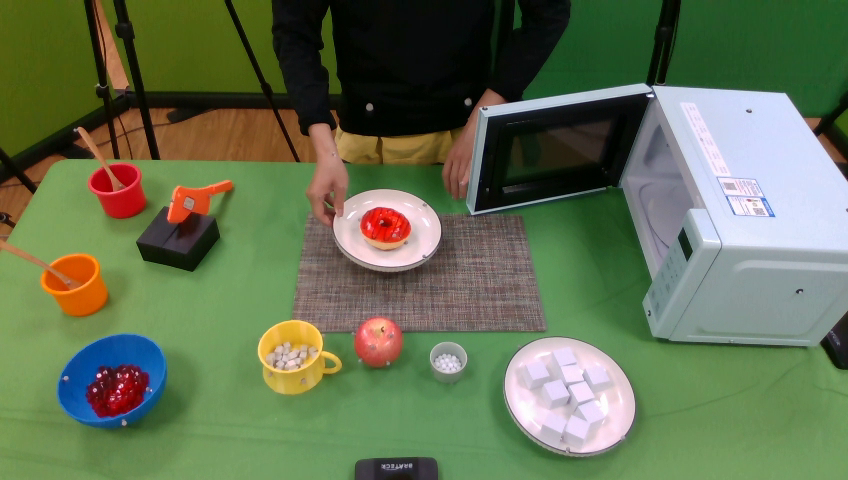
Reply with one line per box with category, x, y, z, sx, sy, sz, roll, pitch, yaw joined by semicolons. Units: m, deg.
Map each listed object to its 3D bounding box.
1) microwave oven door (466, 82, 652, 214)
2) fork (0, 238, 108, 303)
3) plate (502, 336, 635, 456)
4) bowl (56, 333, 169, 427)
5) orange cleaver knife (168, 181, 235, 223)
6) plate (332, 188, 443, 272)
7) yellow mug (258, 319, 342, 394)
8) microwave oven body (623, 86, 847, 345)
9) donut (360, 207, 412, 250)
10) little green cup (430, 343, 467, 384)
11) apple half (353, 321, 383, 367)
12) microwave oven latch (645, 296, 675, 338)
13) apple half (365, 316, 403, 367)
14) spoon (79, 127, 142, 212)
microwave oven door;0.266;-0.183;1.216;0.356;0.245;0.039;-12;48;-15
fork;-0.633;0.048;1.017;0.208;0.018;0.028;40;41;-27
plate;0.225;0.248;0.963;0.208;0.039;0.206;2;46;-2
bowl;-0.456;0.222;0.912;0.151;0.077;0.150;3;46;-2
orange cleaver knife;-0.436;-0.078;1.196;0.012;0.077;0.211;16;15;10
plate;-0.069;-0.016;1.145;0.209;0.038;0.208;5;47;-5
yellow mug;-0.195;0.188;0.972;0.131;0.064;0.099;9;46;4
microwave oven body;0.567;-0.053;1.118;0.326;0.261;0.439;2;45;-1
donut;-0.071;-0.023;1.137;0.099;0.048;0.098;6;44;-5
little green cup;0.039;0.203;0.994;0.061;0.039;0.061;2;46;-2
apple half;-0.098;0.177;0.984;0.033;0.081;0.081;-17;49;-25
microwave oven latch;0.412;0.134;1.061;0.030;0.029;0.078;3;45;0
apple half;-0.063;0.165;1.000;0.053;0.075;0.080;-16;45;-24
spoon;-0.624;-0.140;1.203;0.041;0.021;0.194;-33;100;-26
